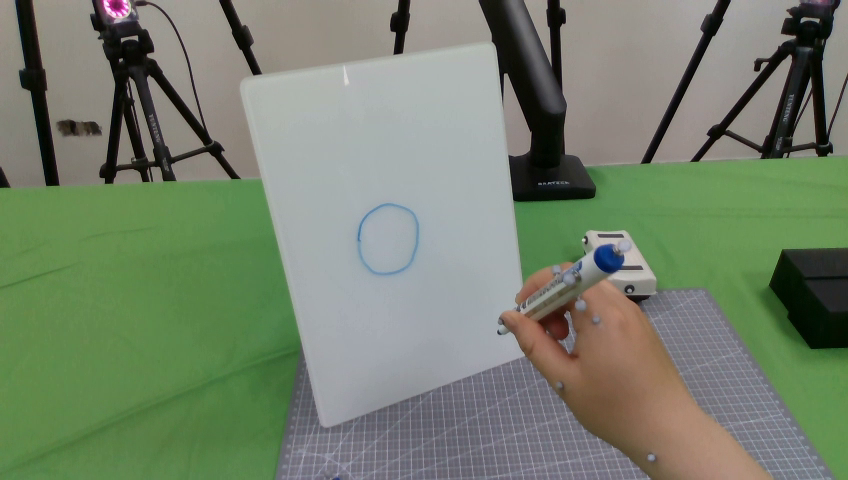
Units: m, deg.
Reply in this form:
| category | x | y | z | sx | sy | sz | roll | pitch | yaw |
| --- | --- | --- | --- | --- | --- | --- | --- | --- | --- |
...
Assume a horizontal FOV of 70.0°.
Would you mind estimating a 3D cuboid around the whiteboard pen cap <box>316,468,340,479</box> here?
| category | x | y | z | sx | sy | sz | roll | pitch | yaw |
| --- | --- | --- | --- | --- | --- | --- | --- | --- | --- |
| whiteboard pen cap | -0.078 | 0.195 | 0.468 | 0.018 | 0.018 | 0.033 | 8 | 52 | 13 |

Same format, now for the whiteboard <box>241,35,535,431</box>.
| category | x | y | z | sx | sy | sz | roll | pitch | yaw |
| --- | --- | --- | --- | --- | --- | --- | --- | --- | --- |
| whiteboard | -0.036 | -0.018 | 0.581 | 0.218 | 0.307 | 0.142 | -15 | 18 | -18 |

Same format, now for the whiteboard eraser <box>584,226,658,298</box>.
| category | x | y | z | sx | sy | sz | roll | pitch | yaw |
| --- | --- | --- | --- | --- | --- | --- | --- | --- | --- |
| whiteboard eraser | 0.223 | 0.025 | 0.695 | 0.055 | 0.042 | 0.111 | -3 | 31 | 1 |

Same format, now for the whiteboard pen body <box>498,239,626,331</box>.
| category | x | y | z | sx | sy | sz | roll | pitch | yaw |
| --- | --- | --- | --- | --- | --- | --- | --- | --- | --- |
| whiteboard pen body | 0.072 | 0.033 | 0.353 | 0.017 | 0.141 | 0.017 | 7 | 64 | -15 |
